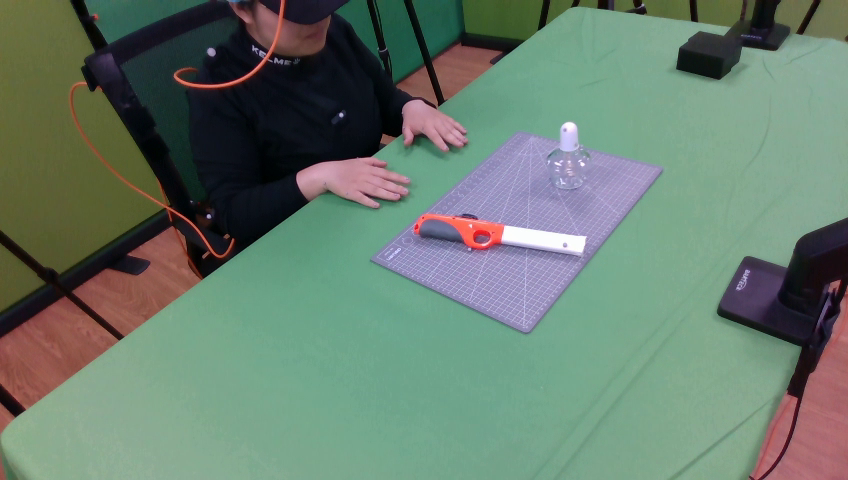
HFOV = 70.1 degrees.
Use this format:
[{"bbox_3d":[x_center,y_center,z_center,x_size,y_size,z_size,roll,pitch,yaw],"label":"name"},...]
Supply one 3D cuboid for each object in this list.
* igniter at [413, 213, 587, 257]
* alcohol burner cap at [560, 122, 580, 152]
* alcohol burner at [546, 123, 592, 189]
[{"bbox_3d":[0.116,-0.009,0.959,0.275,0.025,0.057,8,65,17],"label":"igniter"},{"bbox_3d":[0.244,-0.174,1.010,0.034,0.048,0.033,-8,40,7],"label":"alcohol burner cap"},{"bbox_3d":[0.248,-0.147,1.034,0.078,0.120,0.077,-7,41,6],"label":"alcohol burner"}]
